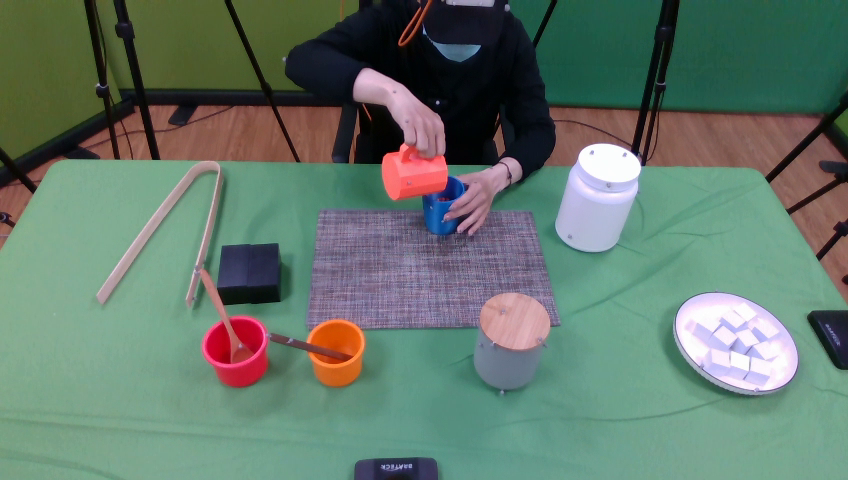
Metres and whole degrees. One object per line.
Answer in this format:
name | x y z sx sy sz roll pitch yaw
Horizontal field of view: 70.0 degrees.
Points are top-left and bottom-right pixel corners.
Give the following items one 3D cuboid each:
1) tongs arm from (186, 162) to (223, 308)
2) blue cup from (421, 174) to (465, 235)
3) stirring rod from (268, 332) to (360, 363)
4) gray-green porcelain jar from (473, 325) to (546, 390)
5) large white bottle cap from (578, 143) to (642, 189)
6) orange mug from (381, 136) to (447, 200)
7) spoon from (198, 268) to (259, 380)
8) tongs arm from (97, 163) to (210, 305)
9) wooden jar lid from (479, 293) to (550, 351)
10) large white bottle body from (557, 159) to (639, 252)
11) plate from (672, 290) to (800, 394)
tongs arm | -0.436 -0.024 1.181 0.051 0.027 0.382 -3 45 0
blue cup | 0.036 -0.066 1.201 0.092 0.101 0.092 1 45 0
stirring rod | -0.167 0.169 0.942 0.177 0.006 0.014 26 26 -41
gray-green porcelain jar | 0.135 0.170 0.969 0.106 0.127 0.105 2 46 -2
large white bottle cap | 0.344 -0.139 1.123 0.115 0.018 0.114 2 46 -2
orange mug | -0.014 -0.135 1.099 0.101 0.126 0.083 -9 55 -27
spoon | -0.313 0.133 0.962 0.041 0.021 0.194 -24 96 -21
tongs arm | -0.520 -0.027 1.183 0.028 0.028 0.385 5 45 12
wooden jar lid | 0.137 0.127 0.925 0.108 0.021 0.107 1 47 -1
large white bottle body | 0.340 -0.081 1.185 0.131 0.185 0.130 2 46 -1
plate | 0.533 0.178 1.050 0.208 0.039 0.206 2 46 -2
